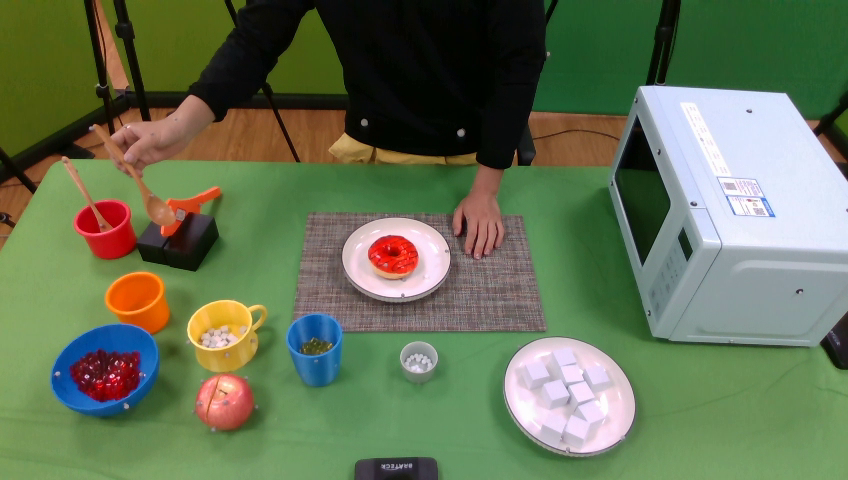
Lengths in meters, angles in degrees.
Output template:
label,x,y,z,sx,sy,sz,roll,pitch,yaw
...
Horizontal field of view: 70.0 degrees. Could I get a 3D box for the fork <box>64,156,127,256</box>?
label,x,y,z,sx,sy,sz,roll,pitch,yaw
fork,-0.614,-0.064,1.129,0.028,0.018,0.207,-30,97,-16

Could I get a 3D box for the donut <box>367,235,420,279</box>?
label,x,y,z,sx,sy,sz,roll,pitch,yaw
donut,-0.057,0.032,1.131,0.099,0.048,0.098,3,45,-3

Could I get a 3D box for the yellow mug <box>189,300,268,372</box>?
label,x,y,z,sx,sy,sz,roll,pitch,yaw
yellow mug,-0.315,0.149,1.001,0.131,0.064,0.099,-33,55,-31

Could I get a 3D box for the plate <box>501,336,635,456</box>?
label,x,y,z,sx,sy,sz,roll,pitch,yaw
plate,0.225,0.248,0.963,0.208,0.039,0.206,2,46,-2

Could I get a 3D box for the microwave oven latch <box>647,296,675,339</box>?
label,x,y,z,sx,sy,sz,roll,pitch,yaw
microwave oven latch,0.413,0.134,1.061,0.030,0.029,0.078,5,45,2

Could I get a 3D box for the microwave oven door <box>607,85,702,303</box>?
label,x,y,z,sx,sy,sz,roll,pitch,yaw
microwave oven door,0.423,-0.094,1.140,0.039,0.245,0.353,2,46,-1

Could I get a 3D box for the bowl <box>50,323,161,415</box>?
label,x,y,z,sx,sy,sz,roll,pitch,yaw
bowl,-0.472,0.209,0.924,0.151,0.077,0.150,3,45,-2

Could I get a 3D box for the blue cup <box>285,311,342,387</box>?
label,x,y,z,sx,sy,sz,roll,pitch,yaw
blue cup,-0.170,0.180,0.958,0.093,0.101,0.092,2,44,-2

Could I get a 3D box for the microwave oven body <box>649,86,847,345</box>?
label,x,y,z,sx,sy,sz,roll,pitch,yaw
microwave oven body,0.568,-0.053,1.118,0.326,0.261,0.439,2,45,-1

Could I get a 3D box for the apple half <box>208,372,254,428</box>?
label,x,y,z,sx,sy,sz,roll,pitch,yaw
apple half,-0.282,0.244,0.908,0.053,0.075,0.080,7,43,-1

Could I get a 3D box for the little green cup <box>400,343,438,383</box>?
label,x,y,z,sx,sy,sz,roll,pitch,yaw
little green cup,-0.010,0.202,0.991,0.061,0.039,0.061,2,46,-2

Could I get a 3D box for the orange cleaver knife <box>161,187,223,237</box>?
label,x,y,z,sx,sy,sz,roll,pitch,yaw
orange cleaver knife,-0.448,-0.058,1.181,0.012,0.077,0.211,13,17,6

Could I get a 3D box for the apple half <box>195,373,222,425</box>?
label,x,y,z,sx,sy,sz,roll,pitch,yaw
apple half,-0.322,0.240,0.907,0.033,0.081,0.081,6,46,0

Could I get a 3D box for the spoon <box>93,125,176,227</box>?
label,x,y,z,sx,sy,sz,roll,pitch,yaw
spoon,-0.471,-0.104,0.989,0.021,0.194,0.041,-9,28,37

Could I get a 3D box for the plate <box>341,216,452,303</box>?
label,x,y,z,sx,sy,sz,roll,pitch,yaw
plate,-0.052,0.039,1.140,0.209,0.038,0.208,2,46,-2
